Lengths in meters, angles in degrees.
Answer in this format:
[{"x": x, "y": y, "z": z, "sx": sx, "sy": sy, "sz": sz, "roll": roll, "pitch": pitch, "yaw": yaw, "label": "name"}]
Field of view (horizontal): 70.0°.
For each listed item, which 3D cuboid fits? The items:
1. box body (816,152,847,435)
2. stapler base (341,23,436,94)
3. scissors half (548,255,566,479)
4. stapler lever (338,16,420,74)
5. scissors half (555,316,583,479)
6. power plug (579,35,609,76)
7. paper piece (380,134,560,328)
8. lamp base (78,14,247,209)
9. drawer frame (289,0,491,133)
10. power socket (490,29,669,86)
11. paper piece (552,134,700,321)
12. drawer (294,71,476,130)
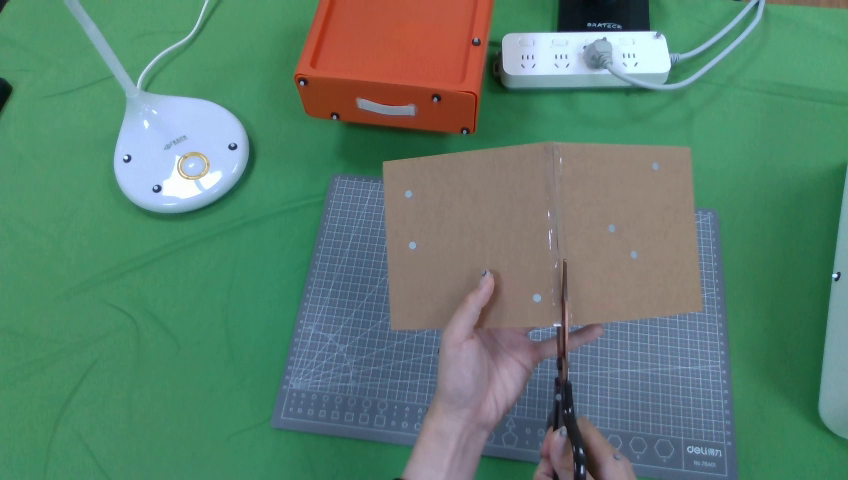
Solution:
[{"x": 0.540, "y": 0.036, "z": 0.561, "sx": 0.253, "sy": 0.161, "sz": 0.362, "roll": 18, "pitch": 66, "yaw": 11, "label": "box body"}, {"x": -0.046, "y": -0.221, "z": 0.721, "sx": 0.129, "sy": 0.024, "sz": 0.041, "roll": 35, "pitch": 86, "yaw": 20, "label": "stapler base"}, {"x": 0.099, "y": 0.098, "z": 0.443, "sx": 0.013, "sy": 0.040, "sz": 0.175, "roll": 1, "pitch": 101, "yaw": 3, "label": "scissors half"}, {"x": -0.054, "y": -0.228, "z": 0.697, "sx": 0.117, "sy": 0.040, "sz": 0.027, "roll": 35, "pitch": 86, "yaw": 21, "label": "stapler lever"}, {"x": 0.098, "y": 0.096, "z": 0.421, "sx": 0.013, "sy": 0.040, "sz": 0.174, "roll": 1, "pitch": 70, "yaw": -1, "label": "scissors half"}, {"x": 0.207, "y": -0.218, "z": 0.742, "sx": 0.035, "sy": 0.053, "sz": 0.072, "roll": 10, "pitch": 65, "yaw": 7, "label": "power plug"}, {"x": 0.031, "y": -0.003, "z": 0.456, "sx": 0.135, "sy": 0.009, "sz": 0.138, "roll": -3, "pitch": 90, "yaw": 22, "label": "paper piece"}, {"x": -0.308, "y": -0.149, "z": 0.670, "sx": 0.178, "sy": 0.182, "sz": 0.160, "roll": 37, "pitch": 70, "yaw": 21, "label": "lamp base"}, {"x": -0.029, "y": -0.242, "z": 0.711, "sx": 0.201, "sy": 0.083, "sz": 0.212, "roll": 7, "pitch": 64, "yaw": 6, "label": "drawer frame"}, {"x": 0.199, "y": -0.234, "z": 0.775, "sx": 0.227, "sy": 0.033, "sz": 0.071, "roll": 0, "pitch": 65, "yaw": 2, "label": "power socket"}, {"x": 0.156, "y": -0.010, "z": 0.461, "sx": 0.136, "sy": 0.004, "sz": 0.135, "roll": -1, "pitch": 88, "yaw": -23, "label": "paper piece"}, {"x": -0.028, "y": -0.239, "z": 0.710, "sx": 0.194, "sy": 0.074, "sz": 0.210, "roll": 7, "pitch": 64, "yaw": 6, "label": "drawer"}]
